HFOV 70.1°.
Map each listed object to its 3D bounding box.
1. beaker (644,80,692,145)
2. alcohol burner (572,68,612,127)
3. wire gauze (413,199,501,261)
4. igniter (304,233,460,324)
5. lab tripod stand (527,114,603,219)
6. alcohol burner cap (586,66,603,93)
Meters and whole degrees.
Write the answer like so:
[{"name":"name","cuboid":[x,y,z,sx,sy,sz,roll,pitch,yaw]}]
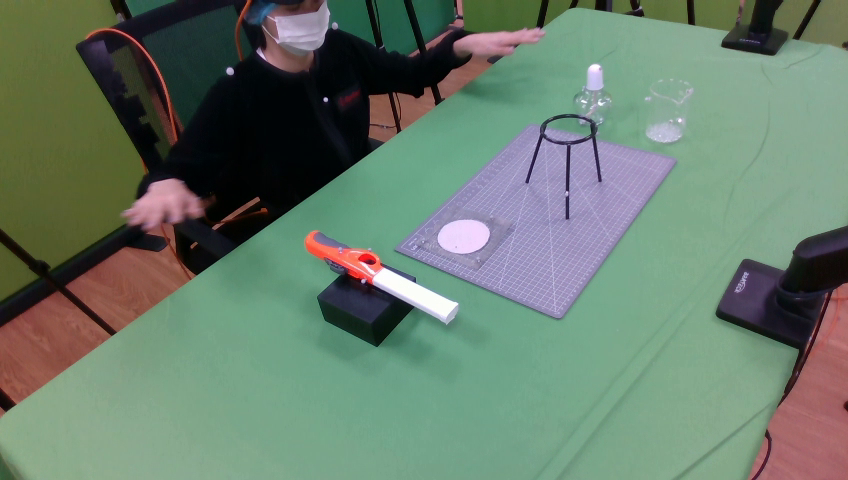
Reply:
[{"name":"beaker","cuboid":[0.451,-0.233,1.122,0.074,0.101,0.083,-8,40,1]},{"name":"alcohol burner","cuboid":[0.333,-0.285,1.192,0.078,0.119,0.077,-4,42,4]},{"name":"wire gauze","cuboid":[0.054,-0.016,0.970,0.121,0.011,0.125,7,48,14]},{"name":"igniter","cuboid":[-0.070,0.048,0.853,0.274,0.025,0.057,24,47,29]},{"name":"lab tripod stand","cuboid":[0.234,-0.129,1.002,0.148,0.132,0.147,-6,40,6]},{"name":"alcohol burner cap","cuboid":[0.330,-0.312,1.170,0.034,0.048,0.033,-8,38,7]}]
